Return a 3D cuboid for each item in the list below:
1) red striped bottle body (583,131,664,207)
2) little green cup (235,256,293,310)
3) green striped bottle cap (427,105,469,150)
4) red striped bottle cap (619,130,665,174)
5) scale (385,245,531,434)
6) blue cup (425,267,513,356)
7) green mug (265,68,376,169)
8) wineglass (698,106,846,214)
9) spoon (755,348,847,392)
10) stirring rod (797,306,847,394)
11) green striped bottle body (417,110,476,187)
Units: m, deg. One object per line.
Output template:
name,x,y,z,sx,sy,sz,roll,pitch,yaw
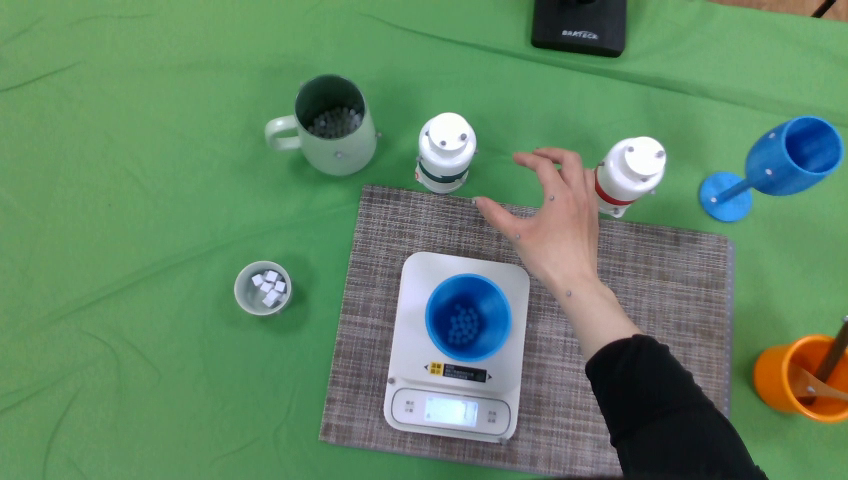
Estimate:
red striped bottle body,0.229,-0.082,0.690,0.063,0.120,0.063,1,78,-2
little green cup,-0.178,0.051,0.686,0.061,0.039,0.061,1,78,-3
green striped bottle cap,0.025,-0.119,0.635,0.044,0.020,0.044,1,78,-3
red striped bottle cap,0.230,-0.093,0.637,0.044,0.018,0.044,1,74,-2
scale,0.040,0.110,0.683,0.149,0.031,0.200,7,79,-1
blue cup,0.040,0.075,0.624,0.093,0.100,0.092,1,81,-4
green mug,-0.119,-0.133,0.693,0.125,0.105,0.092,-14,79,-5
wineglass,0.375,-0.082,0.668,0.074,0.173,0.073,0,78,-1
spoon,0.452,0.158,0.636,0.022,0.192,0.041,27,83,-41
stirring rod,0.441,0.105,0.646,0.014,0.177,0.006,14,37,14
green striped bottle body,0.024,-0.107,0.686,0.063,0.119,0.063,0,77,-2
